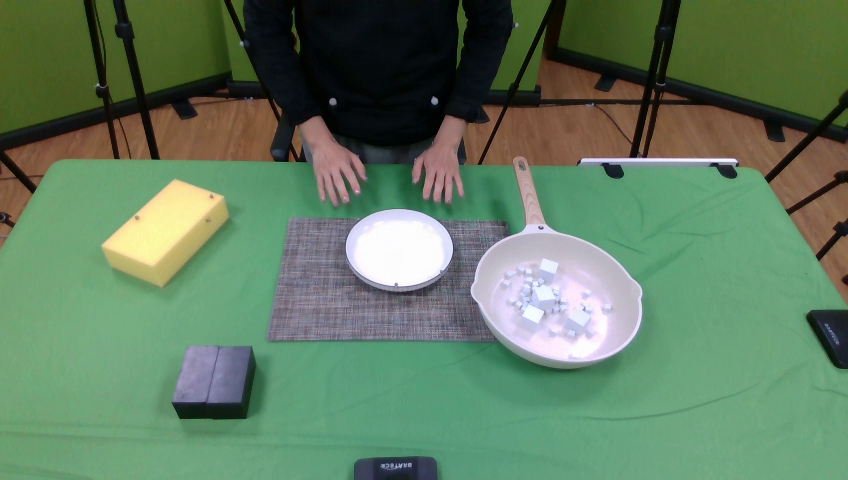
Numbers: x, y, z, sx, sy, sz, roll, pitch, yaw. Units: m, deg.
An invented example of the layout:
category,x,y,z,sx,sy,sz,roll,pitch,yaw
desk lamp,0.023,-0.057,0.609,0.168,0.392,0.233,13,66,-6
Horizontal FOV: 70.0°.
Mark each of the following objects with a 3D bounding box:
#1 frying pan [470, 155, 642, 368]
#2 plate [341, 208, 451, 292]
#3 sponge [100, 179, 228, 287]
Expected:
category,x,y,z,sx,sy,sz,roll,pitch,yaw
frying pan,0.222,0.022,1.134,0.307,0.103,0.484,0,55,-7
plate,-0.053,0.022,1.157,0.208,0.039,0.206,2,46,-2
sponge,-0.486,-0.018,1.151,0.118,0.061,0.206,19,47,12
